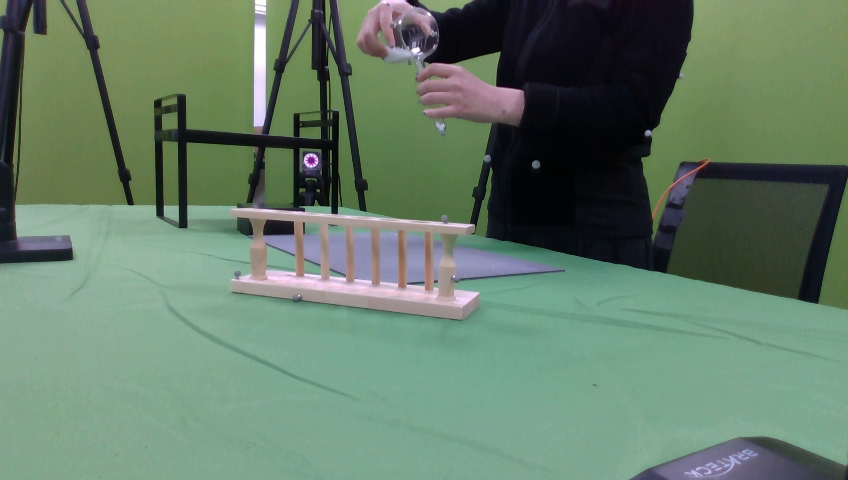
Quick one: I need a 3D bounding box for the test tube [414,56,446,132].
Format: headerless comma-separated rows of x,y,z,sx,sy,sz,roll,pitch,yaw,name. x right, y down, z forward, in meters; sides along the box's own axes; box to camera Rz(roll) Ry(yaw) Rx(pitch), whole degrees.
0.009,-0.227,0.936,0.017,0.149,0.017,-13,-28,-7,test tube

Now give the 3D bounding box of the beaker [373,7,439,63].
-0.033,-0.332,1.003,0.074,0.084,0.100,-4,9,-33,beaker

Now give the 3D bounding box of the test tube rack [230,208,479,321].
-0.069,0.017,0.598,0.242,0.085,0.067,5,8,18,test tube rack
